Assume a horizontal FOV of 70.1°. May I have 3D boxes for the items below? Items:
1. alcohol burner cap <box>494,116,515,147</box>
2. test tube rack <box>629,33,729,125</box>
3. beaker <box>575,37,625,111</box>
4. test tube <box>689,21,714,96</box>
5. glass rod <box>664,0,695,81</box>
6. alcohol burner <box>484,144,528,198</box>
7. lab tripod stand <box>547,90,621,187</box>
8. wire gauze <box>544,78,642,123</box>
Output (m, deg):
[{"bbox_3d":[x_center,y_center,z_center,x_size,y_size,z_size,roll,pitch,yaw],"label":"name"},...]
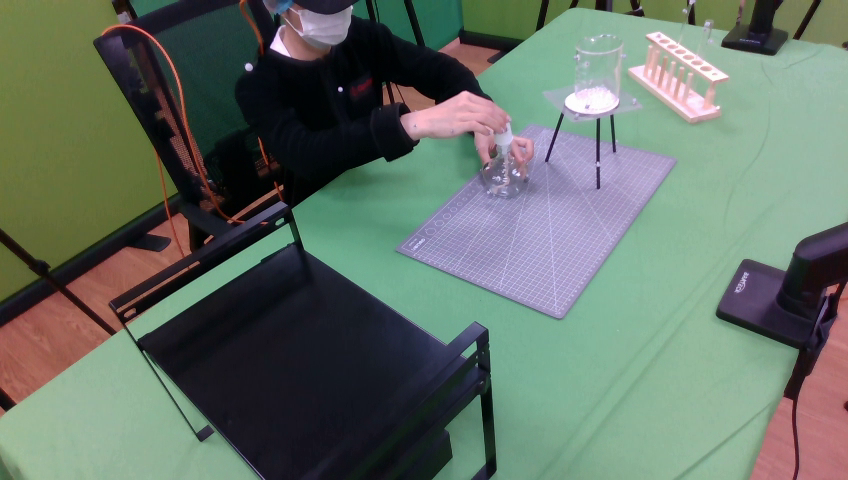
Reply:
[{"bbox_3d":[0.130,-0.181,0.996,0.034,0.048,0.033,-10,41,9],"label":"alcohol burner cap"},{"bbox_3d":[0.516,-0.337,1.247,0.067,0.085,0.240,-14,41,-7],"label":"test tube rack"},{"bbox_3d":[0.283,-0.271,0.988,0.074,0.101,0.083,-10,39,1],"label":"beaker"},{"bbox_3d":[0.541,-0.353,1.184,0.017,0.151,0.017,-2,40,2],"label":"test tube"},{"bbox_3d":[0.524,-0.415,1.234,0.008,0.200,0.008,1,46,0],"label":"glass rod"},{"bbox_3d":[0.141,-0.133,1.042,0.078,0.119,0.077,-4,42,4],"label":"alcohol burner"},{"bbox_3d":[0.289,-0.184,1.062,0.148,0.132,0.147,-6,41,6],"label":"lab tripod stand"},{"bbox_3d":[0.282,-0.234,1.021,0.125,0.011,0.120,-16,38,-4],"label":"wire gauze"}]
